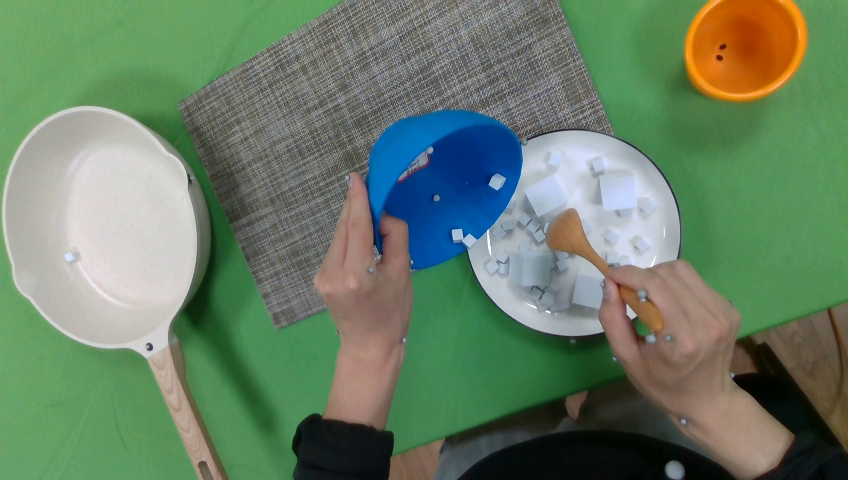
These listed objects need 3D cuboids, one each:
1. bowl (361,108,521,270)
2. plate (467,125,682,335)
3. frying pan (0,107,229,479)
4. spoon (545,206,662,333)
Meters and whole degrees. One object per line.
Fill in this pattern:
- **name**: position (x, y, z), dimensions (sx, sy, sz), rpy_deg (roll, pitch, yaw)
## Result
- **bowl**: position (0.001, -0.056, 0.520), dimensions (0.151, 0.152, 0.076), rpy_deg (-53, 56, 17)
- **plate**: position (0.146, -0.010, 0.608), dimensions (0.207, 0.039, 0.208), rpy_deg (3, 101, 16)
- **frying pan**: position (-0.346, 0.078, 0.738), dimensions (0.306, 0.103, 0.486), rpy_deg (-28, 81, 19)
- **spoon**: position (0.135, 0.017, 0.470), dimensions (0.022, 0.192, 0.042), rpy_deg (28, 105, -23)
